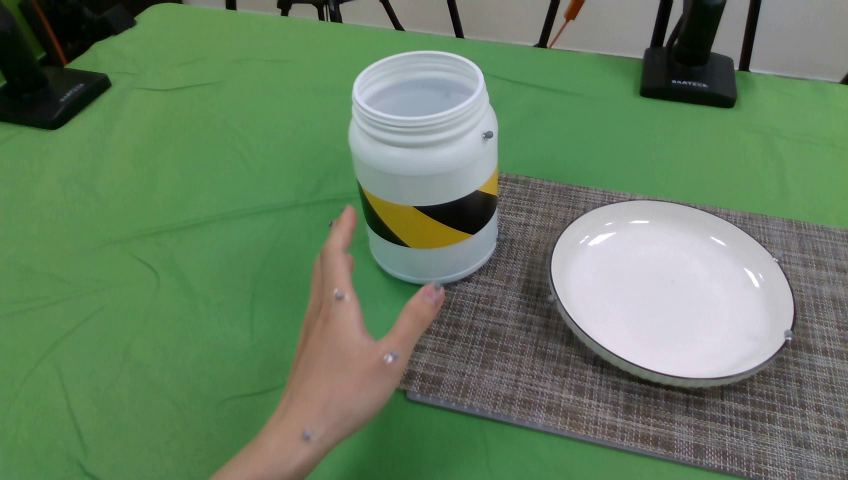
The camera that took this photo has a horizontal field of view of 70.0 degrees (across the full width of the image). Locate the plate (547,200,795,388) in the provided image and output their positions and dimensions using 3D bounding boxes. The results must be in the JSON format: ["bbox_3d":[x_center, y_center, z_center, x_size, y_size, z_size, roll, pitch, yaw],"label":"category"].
[{"bbox_3d":[0.214,0.046,0.544,0.208,0.039,0.205,-1,45,1],"label":"plate"}]

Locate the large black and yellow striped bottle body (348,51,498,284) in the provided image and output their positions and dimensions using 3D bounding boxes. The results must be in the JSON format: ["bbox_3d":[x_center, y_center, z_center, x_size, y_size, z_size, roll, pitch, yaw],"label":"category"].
[{"bbox_3d":[0.002,-0.064,0.556,0.131,0.186,0.129,-3,45,3],"label":"large black and yellow striped bottle body"}]
